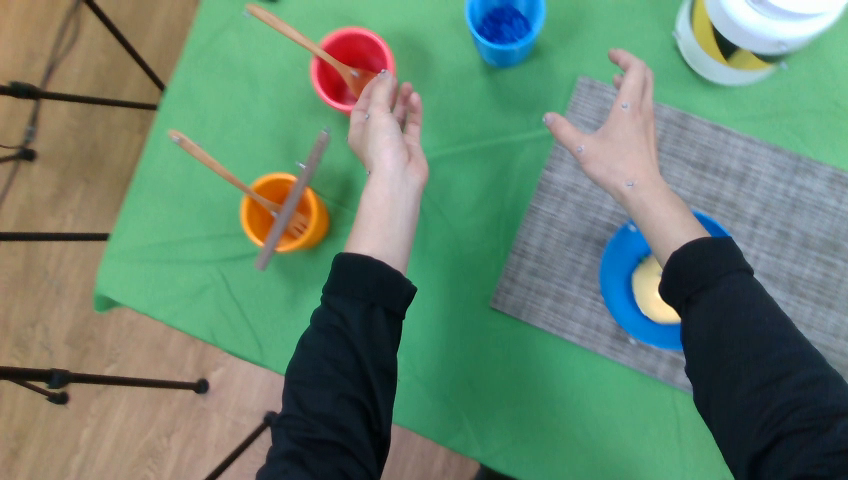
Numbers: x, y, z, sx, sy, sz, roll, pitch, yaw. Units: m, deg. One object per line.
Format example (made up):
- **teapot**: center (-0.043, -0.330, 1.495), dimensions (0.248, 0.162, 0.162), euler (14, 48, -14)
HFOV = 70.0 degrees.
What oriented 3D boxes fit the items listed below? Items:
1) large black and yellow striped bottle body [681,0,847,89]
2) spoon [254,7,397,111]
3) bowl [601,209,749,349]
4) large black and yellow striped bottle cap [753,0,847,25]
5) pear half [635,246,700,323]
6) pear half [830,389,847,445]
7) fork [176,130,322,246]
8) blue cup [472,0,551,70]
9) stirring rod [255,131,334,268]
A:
- **large black and yellow striped bottle body**: center (0.362, -0.250, 0.637), dimensions (0.130, 0.184, 0.130), euler (0, 86, 6)
- **spoon**: center (-0.109, -0.211, 0.707), dimensions (0.195, 0.021, 0.041), euler (29, 92, -36)
- **bowl**: center (0.269, 0.044, 0.678), dimensions (0.151, 0.077, 0.151), euler (0, 86, 7)
- **large black and yellow striped bottle cap**: center (0.354, -0.255, 0.553), dimensions (0.115, 0.019, 0.115), euler (0, 87, 8)
- **pear half**: center (0.273, 0.048, 0.671), dimensions (0.070, 0.031, 0.087), euler (3, 82, 2)
- **pear half**: center (0.467, 0.190, 0.631), dimensions (0.056, 0.110, 0.076), euler (3, 83, 8)
- **fork**: center (-0.198, -0.057, 0.703), dimensions (0.028, 0.018, 0.209), euler (-42, 127, 9)
- **blue cup**: center (0.100, -0.243, 0.706), dimensions (0.092, 0.100, 0.092), euler (0, 88, 6)
- **stirring rod**: center (-0.149, -0.046, 0.699), dimensions (0.014, 0.006, 0.176), euler (28, 93, -8)
